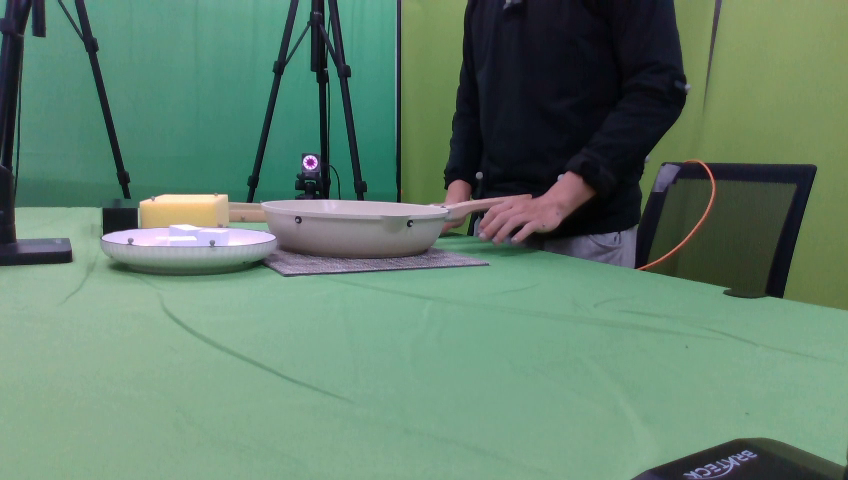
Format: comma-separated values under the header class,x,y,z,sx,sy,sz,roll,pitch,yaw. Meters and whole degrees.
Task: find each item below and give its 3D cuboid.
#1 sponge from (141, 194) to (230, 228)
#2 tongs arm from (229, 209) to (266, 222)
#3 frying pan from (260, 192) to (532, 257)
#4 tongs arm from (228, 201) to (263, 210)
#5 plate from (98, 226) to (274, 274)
class,x,y,z,sx,sy,sz,roll,pitch,yaw
sponge,-0.425,-0.047,1.097,0.118,0.061,0.206,-2,8,-12
tongs arm,-0.280,-0.056,1.355,0.389,0.028,0.028,-1,6,-28
frying pan,-0.017,-0.043,1.006,0.490,0.102,0.305,-11,13,-26
tongs arm,-0.306,-0.070,1.430,0.386,0.026,0.050,2,8,-15
plate,-0.301,0.012,0.778,0.208,0.039,0.207,3,7,0
